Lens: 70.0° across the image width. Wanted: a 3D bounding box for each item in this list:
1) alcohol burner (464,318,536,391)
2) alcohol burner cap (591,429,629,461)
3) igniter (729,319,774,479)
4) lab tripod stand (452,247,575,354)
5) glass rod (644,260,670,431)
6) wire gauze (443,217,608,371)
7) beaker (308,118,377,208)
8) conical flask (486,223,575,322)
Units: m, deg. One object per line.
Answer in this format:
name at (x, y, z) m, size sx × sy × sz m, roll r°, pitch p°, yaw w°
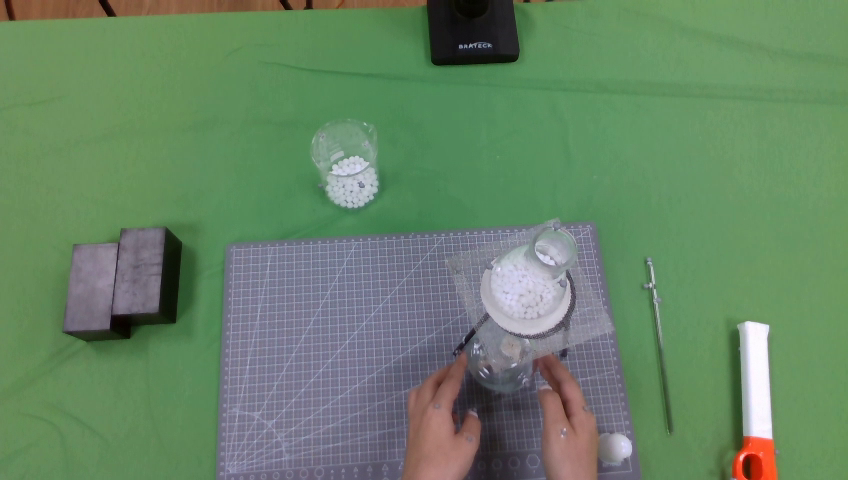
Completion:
alcohol burner at (0.082, 0.117, 0.636) m, size 0.078 × 0.120 × 0.077 m, roll 1°, pitch 71°, yaw -2°
alcohol burner cap at (0.200, 0.216, 0.641) m, size 0.034 × 0.048 × 0.033 m, roll 1°, pitch 71°, yaw -1°
igniter at (0.356, 0.222, 0.655) m, size 0.057 × 0.025 × 0.275 m, roll 12°, pitch 70°, yaw -8°
lab tripod stand at (0.097, 0.074, 0.641) m, size 0.148 × 0.132 × 0.147 m, roll 0°, pitch 72°, yaw -1°
glass rod at (0.268, 0.117, 0.699) m, size 0.008 × 0.008 × 0.198 m, roll 1°, pitch 70°, yaw -1°
wire gauze at (0.097, 0.050, 0.579) m, size 0.125 × 0.011 × 0.120 m, roll -19°, pitch 75°, yaw -10°
beaker at (-0.090, -0.088, 0.715) m, size 0.073 × 0.101 × 0.084 m, roll 43°, pitch 74°, yaw 13°
conical flask at (0.098, 0.024, 0.526) m, size 0.075 × 0.122 × 0.075 m, roll 1°, pitch 72°, yaw -2°
